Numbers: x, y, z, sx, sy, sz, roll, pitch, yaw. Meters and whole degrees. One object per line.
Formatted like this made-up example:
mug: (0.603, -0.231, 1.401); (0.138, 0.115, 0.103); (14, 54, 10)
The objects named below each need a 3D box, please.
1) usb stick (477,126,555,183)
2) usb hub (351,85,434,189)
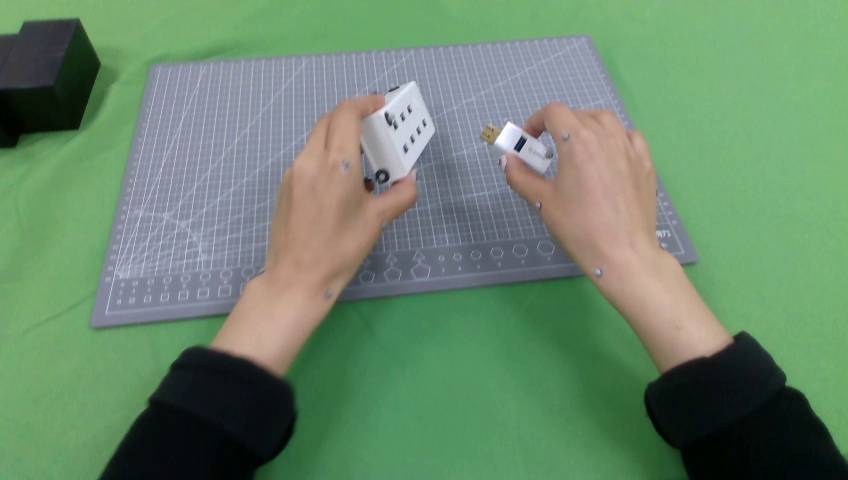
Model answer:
usb stick: (0.068, -0.068, 0.463); (0.059, 0.027, 0.021); (31, 84, 5)
usb hub: (-0.021, -0.086, 0.476); (0.025, 0.050, 0.124); (-17, 21, 18)
